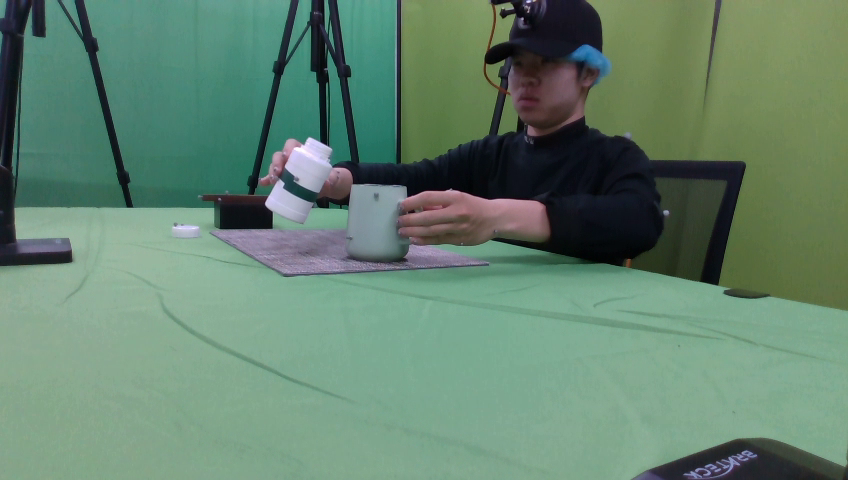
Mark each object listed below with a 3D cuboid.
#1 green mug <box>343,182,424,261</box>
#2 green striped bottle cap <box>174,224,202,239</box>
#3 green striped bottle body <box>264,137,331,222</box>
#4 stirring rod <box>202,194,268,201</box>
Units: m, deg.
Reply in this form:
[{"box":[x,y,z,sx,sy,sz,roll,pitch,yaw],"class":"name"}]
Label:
[{"box":[-0.053,-0.026,0.849,0.125,0.105,0.093,7,9,33],"class":"green mug"},{"box":[-0.404,-0.015,1.036,0.044,0.020,0.044,-1,9,1],"class":"green striped bottle cap"},{"box":[-0.180,-0.091,0.888,0.063,0.119,0.063,28,5,-3],"class":"green striped bottle body"},{"box":[-0.353,-0.086,1.216,0.177,0.014,0.006,-1,12,-27],"class":"stirring rod"}]
